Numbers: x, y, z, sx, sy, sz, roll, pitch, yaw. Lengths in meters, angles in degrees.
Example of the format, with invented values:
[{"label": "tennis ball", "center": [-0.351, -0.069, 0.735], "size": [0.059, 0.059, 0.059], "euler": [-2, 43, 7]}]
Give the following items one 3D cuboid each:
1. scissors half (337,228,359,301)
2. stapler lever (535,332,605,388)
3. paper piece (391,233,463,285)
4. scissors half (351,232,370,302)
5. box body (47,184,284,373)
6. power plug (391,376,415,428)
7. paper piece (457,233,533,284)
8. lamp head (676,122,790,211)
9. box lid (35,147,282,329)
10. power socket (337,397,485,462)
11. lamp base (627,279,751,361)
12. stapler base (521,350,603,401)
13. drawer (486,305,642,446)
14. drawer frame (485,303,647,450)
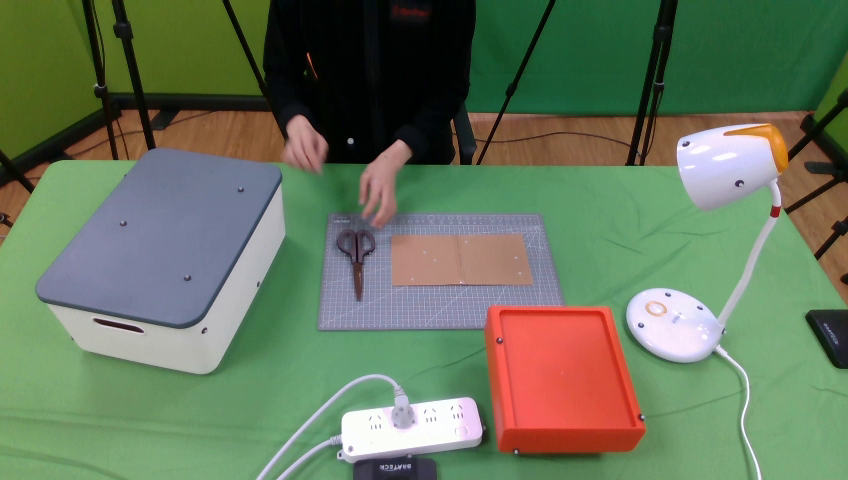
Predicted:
[{"label": "scissors half", "center": [-0.140, 0.044, 1.143], "size": [0.040, 0.013, 0.174], "euler": [15, 44, -32]}, {"label": "stapler lever", "center": [0.225, 0.181, 0.928], "size": [0.118, 0.040, 0.027], "euler": [27, 34, 15]}, {"label": "paper piece", "center": [0.004, 0.035, 1.170], "size": [0.135, 0.004, 0.135], "euler": [1, 46, -4]}, {"label": "scissors half", "center": [-0.124, 0.051, 1.153], "size": [0.040, 0.013, 0.174], "euler": [30, 37, -25]}, {"label": "box body", "center": [-0.414, 0.029, 1.040], "size": [0.254, 0.161, 0.362], "euler": [10, 46, 5]}, {"label": "power plug", "center": [-0.031, 0.249, 0.917], "size": [0.035, 0.053, 0.072], "euler": [3, 46, -1]}, {"label": "paper piece", "center": [0.136, 0.035, 1.182], "size": [0.136, 0.009, 0.137], "euler": [2, 45, -7]}, {"label": "lamp head", "center": [0.423, -0.104, 0.819], "size": [0.122, 0.113, 0.112], "euler": [-13, 33, 40]}, {"label": "box lid", "center": [-0.411, -0.023, 0.987], "size": [0.263, 0.015, 0.369], "euler": [10, 47, 5]}, {"label": "power socket", "center": [-0.018, 0.285, 0.915], "size": [0.227, 0.033, 0.071], "euler": [-4, 46, -8]}, {"label": "lamp base", "center": [0.460, 0.100, 1.027], "size": [0.178, 0.181, 0.160], "euler": [27, 51, 17]}, {"label": "stapler base", "center": [0.217, 0.203, 0.942], "size": [0.130, 0.024, 0.041], "euler": [26, 33, 16]}, {"label": "drawer", "center": [0.202, 0.200, 0.919], "size": [0.195, 0.073, 0.210], "euler": [2, 47, -4]}, {"label": "drawer frame", "center": [0.204, 0.202, 0.917], "size": [0.202, 0.083, 0.212], "euler": [1, 47, -4]}]
